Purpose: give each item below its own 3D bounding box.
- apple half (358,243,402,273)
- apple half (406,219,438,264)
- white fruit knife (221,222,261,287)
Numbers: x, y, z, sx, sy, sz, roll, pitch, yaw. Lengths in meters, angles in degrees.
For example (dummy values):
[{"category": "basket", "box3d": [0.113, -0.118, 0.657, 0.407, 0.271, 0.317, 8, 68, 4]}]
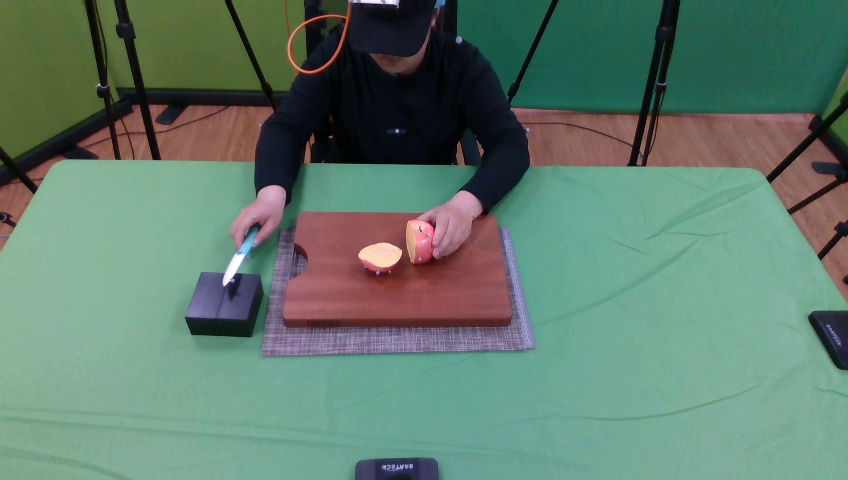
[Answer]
[{"category": "apple half", "box3d": [-0.078, 0.038, 1.110, 0.081, 0.033, 0.081, 1, 30, 0]}, {"category": "apple half", "box3d": [-0.001, 0.003, 1.121, 0.053, 0.075, 0.080, -4, 43, -14]}, {"category": "white fruit knife", "box3d": [-0.330, 0.024, 1.098, 0.027, 0.016, 0.206, -7, 32, 7]}]
